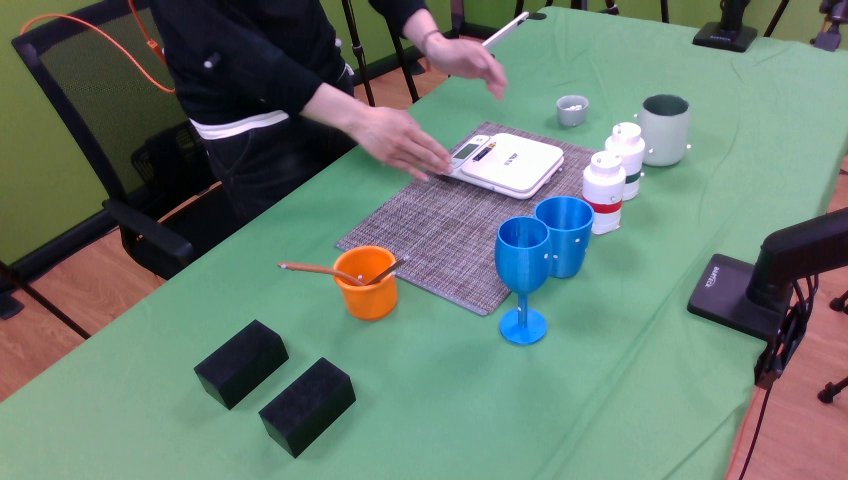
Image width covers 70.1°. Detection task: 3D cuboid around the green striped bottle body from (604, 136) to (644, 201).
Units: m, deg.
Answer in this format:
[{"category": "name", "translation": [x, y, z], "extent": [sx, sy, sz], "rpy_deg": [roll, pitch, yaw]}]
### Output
[{"category": "green striped bottle body", "translation": [0.326, -0.128, 0.997], "extent": [0.063, 0.120, 0.063], "rpy_deg": [-4, 41, 4]}]

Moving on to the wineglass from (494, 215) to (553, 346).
[{"category": "wineglass", "translation": [0.127, 0.055, 0.770], "extent": [0.074, 0.173, 0.073], "rpy_deg": [-4, 40, 4]}]

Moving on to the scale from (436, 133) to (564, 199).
[{"category": "scale", "translation": [0.137, -0.142, 1.102], "extent": [0.199, 0.032, 0.149], "rpy_deg": [22, 48, 30]}]

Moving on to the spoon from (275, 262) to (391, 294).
[{"category": "spoon", "translation": [-0.120, 0.050, 0.830], "extent": [0.041, 0.195, 0.021], "rpy_deg": [31, 96, 45]}]

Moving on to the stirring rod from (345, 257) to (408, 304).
[{"category": "stirring rod", "translation": [-0.067, 0.057, 0.814], "extent": [0.014, 0.175, 0.006], "rpy_deg": [-24, 81, -38]}]

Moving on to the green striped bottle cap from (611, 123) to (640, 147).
[{"category": "green striped bottle cap", "translation": [0.322, -0.168, 0.963], "extent": [0.044, 0.020, 0.044], "rpy_deg": [-4, 41, 4]}]

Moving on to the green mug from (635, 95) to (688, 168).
[{"category": "green mug", "translation": [0.421, -0.201, 1.081], "extent": [0.092, 0.105, 0.125], "rpy_deg": [5, 42, 15]}]

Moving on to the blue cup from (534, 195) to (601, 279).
[{"category": "blue cup", "translation": [0.201, 0.000, 0.879], "extent": [0.092, 0.100, 0.092], "rpy_deg": [-3, 39, 3]}]

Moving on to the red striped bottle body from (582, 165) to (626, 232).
[{"category": "red striped bottle body", "translation": [0.279, -0.075, 0.942], "extent": [0.063, 0.120, 0.062], "rpy_deg": [-5, 41, 4]}]

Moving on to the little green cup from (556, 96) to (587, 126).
[{"category": "little green cup", "translation": [0.295, -0.258, 1.214], "extent": [0.061, 0.039, 0.061], "rpy_deg": [-5, 41, 5]}]

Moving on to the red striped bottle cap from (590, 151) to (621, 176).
[{"category": "red striped bottle cap", "translation": [0.272, -0.115, 0.908], "extent": [0.044, 0.018, 0.044], "rpy_deg": [-3, 44, 4]}]
